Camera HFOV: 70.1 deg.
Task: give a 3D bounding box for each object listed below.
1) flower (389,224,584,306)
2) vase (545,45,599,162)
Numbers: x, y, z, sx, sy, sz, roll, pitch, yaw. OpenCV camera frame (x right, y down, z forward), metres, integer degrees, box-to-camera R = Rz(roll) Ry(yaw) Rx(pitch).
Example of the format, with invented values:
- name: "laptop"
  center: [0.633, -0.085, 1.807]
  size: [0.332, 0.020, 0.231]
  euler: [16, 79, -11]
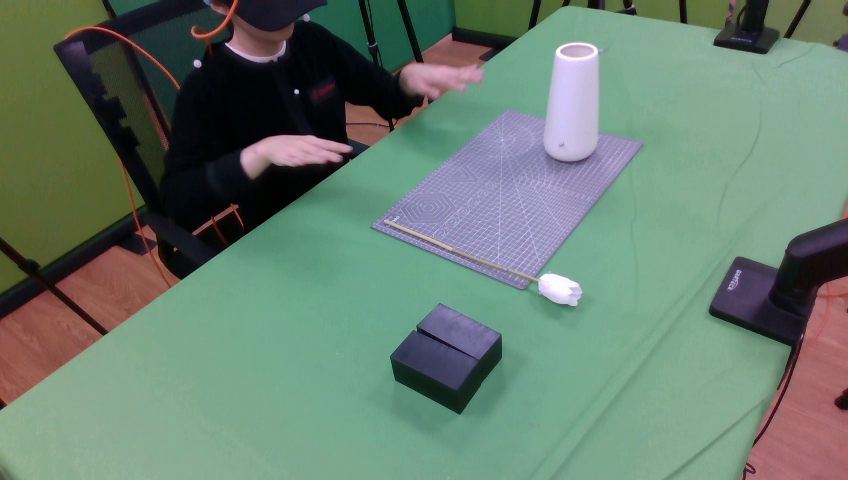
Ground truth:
- name: "flower"
  center: [0.078, 0.026, 0.938]
  size: [0.358, 0.038, 0.044]
  euler: [21, 15, 35]
- name: "vase"
  center: [0.267, -0.238, 1.074]
  size: [0.098, 0.201, 0.097]
  euler: [-4, 42, 4]
